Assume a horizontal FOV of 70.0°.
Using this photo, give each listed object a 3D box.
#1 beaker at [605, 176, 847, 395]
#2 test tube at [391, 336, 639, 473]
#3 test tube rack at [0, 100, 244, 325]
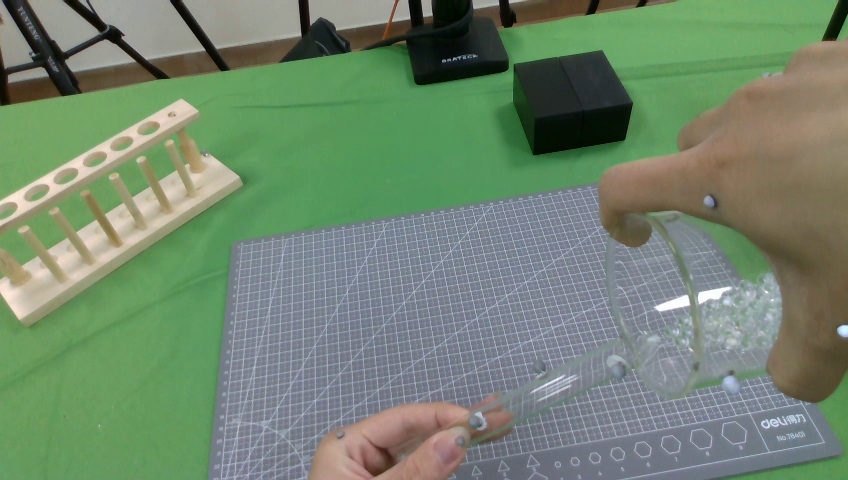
[{"bbox_3d":[0.134,0.017,0.243,0.100,0.085,0.073,-10,54,-5],"label":"beaker"},{"bbox_3d":[0.038,0.086,0.303,0.150,0.017,0.017,-35,41,28],"label":"test tube"},{"bbox_3d":[-0.306,-0.033,0.593,0.066,0.086,0.242,34,61,31],"label":"test tube rack"}]
